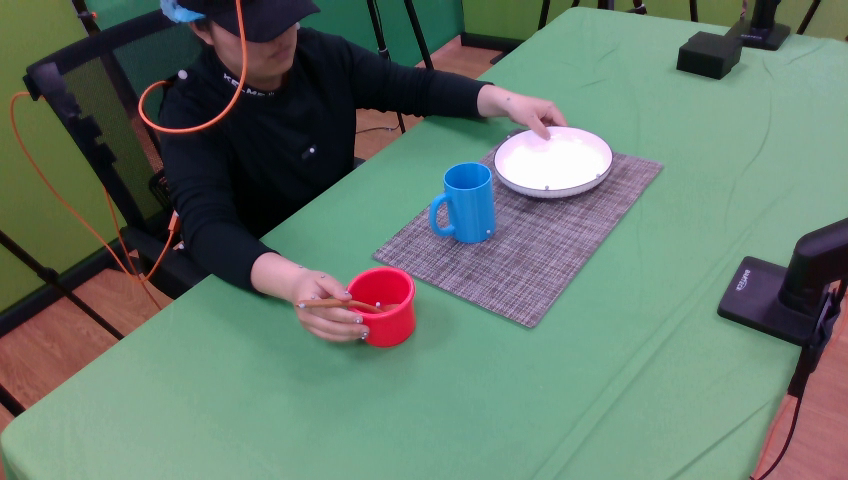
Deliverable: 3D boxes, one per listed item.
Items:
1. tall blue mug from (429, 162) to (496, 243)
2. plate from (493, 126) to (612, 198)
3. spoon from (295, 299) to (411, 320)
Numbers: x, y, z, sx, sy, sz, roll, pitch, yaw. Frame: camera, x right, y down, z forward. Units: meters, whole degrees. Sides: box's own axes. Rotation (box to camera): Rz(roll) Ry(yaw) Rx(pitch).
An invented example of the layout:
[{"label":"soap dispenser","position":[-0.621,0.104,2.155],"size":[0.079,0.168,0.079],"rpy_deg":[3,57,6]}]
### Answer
[{"label":"tall blue mug","position":[0.067,-0.051,0.960],"size":[0.077,0.108,0.107],"rpy_deg":[18,47,27]},{"label":"plate","position":[0.229,-0.136,1.085],"size":[0.207,0.039,0.206],"rpy_deg":[-5,40,5]},{"label":"spoon","position":[-0.090,0.088,0.806],"size":[0.195,0.021,0.041],"rpy_deg":[16,9,-47]}]
